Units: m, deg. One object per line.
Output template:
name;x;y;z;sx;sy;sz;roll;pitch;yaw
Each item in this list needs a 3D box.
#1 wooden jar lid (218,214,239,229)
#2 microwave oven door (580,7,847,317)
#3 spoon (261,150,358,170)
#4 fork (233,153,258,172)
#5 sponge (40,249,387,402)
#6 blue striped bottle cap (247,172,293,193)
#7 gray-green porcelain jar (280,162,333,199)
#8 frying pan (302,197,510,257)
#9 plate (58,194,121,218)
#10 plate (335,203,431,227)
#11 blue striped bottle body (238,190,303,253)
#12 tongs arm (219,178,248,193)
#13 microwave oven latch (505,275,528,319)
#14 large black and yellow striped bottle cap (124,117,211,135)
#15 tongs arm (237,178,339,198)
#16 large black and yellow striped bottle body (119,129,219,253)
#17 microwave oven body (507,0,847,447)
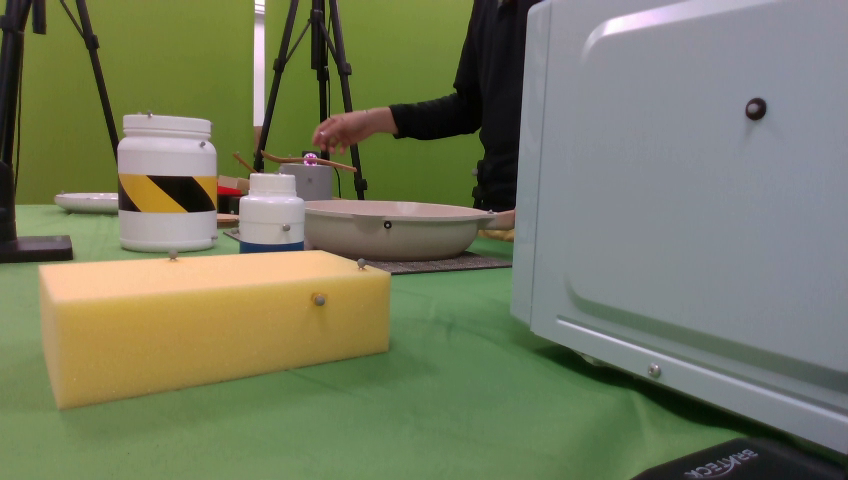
wooden jar lid;-0.404;-0.037;1.169;0.108;0.020;0.108;3;7;0
microwave oven door;0.294;-0.067;0.570;0.358;0.243;0.039;-3;9;-31
spoon;-0.229;-0.162;1.222;0.194;0.021;0.041;4;4;-16
fork;-0.396;-0.143;1.486;0.028;0.018;0.208;21;-25;45
sponge;-0.142;0.047;0.420;0.208;0.061;0.117;-3;8;-36
blue striped bottle cap;-0.152;-0.057;0.598;0.044;0.020;0.044;3;7;0
gray-green porcelain jar;-0.238;-0.092;1.221;0.106;0.126;0.106;2;7;0
frying pan;0.051;-0.035;0.915;0.487;0.102;0.307;-5;7;11
plate;-0.671;-0.074;1.310;0.209;0.038;0.209;2;8;0
plate;-0.089;-0.054;1.309;0.208;0.039;0.207;2;8;0
blue striped bottle body;-0.153;-0.007;0.606;0.063;0.120;0.063;2;8;0
tongs arm;-0.286;-0.102;1.445;0.389;0.027;0.028;9;-5;-23
microwave oven latch;0.100;0.041;0.471;0.079;0.029;0.030;-1;7;-28
large black and yellow striped bottle cap;-0.366;-0.163;0.866;0.115;0.019;0.115;3;7;0
tongs arm;-0.242;-0.095;1.374;0.387;0.026;0.050;9;-1;-37
large black and yellow striped bottle body;-0.367;-0.080;0.876;0.131;0.184;0.130;2;7;0
microwave oven body;0.331;-0.042;0.425;0.444;0.260;0.324;-2;8;-31
